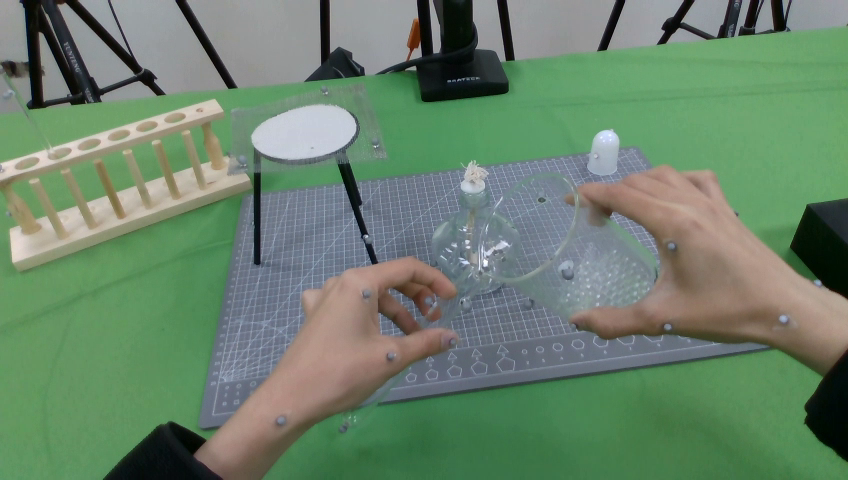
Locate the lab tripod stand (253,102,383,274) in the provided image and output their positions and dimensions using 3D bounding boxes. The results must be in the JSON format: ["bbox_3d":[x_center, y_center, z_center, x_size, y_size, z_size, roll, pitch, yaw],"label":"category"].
[{"bbox_3d":[-0.098,-0.045,0.551,0.148,0.133,0.147,-3,43,3],"label":"lab tripod stand"}]

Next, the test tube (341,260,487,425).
[{"bbox_3d":[-0.010,0.071,0.399,0.017,0.150,0.017,34,20,-14],"label":"test tube"}]

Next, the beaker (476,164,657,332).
[{"bbox_3d":[0.092,0.012,0.385,0.084,0.101,0.073,-44,36,21],"label":"beaker"}]

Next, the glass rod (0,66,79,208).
[{"bbox_3d":[-0.371,-0.100,0.581,0.008,0.201,0.008,-2,45,2],"label":"glass rod"}]

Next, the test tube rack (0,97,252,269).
[{"bbox_3d":[-0.318,-0.064,0.637,0.243,0.086,0.066,-24,44,-20],"label":"test tube rack"}]

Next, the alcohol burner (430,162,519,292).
[{"bbox_3d":[0.043,-0.014,0.517,0.078,0.120,0.077,-3,39,3],"label":"alcohol burner"}]

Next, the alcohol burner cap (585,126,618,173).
[{"bbox_3d":[0.193,-0.100,0.655,0.034,0.048,0.033,-3,41,3],"label":"alcohol burner cap"}]

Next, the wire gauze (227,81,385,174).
[{"bbox_3d":[-0.103,-0.095,0.507,0.125,0.011,0.120,-12,41,-6],"label":"wire gauze"}]
